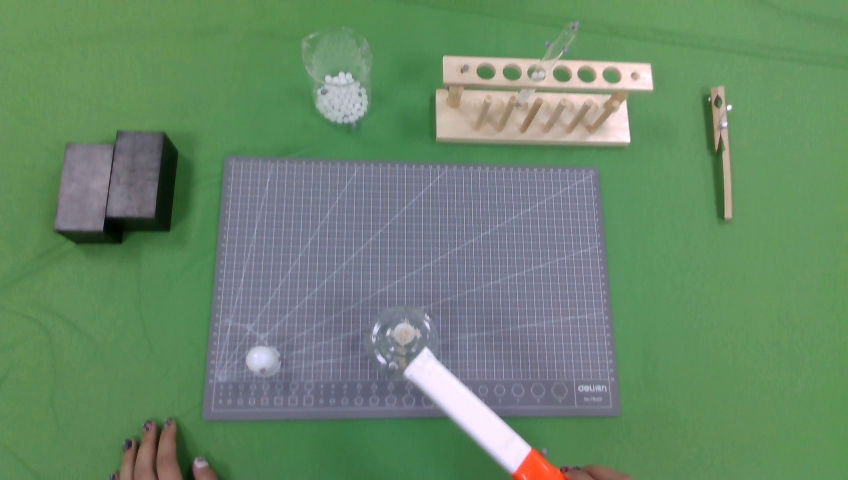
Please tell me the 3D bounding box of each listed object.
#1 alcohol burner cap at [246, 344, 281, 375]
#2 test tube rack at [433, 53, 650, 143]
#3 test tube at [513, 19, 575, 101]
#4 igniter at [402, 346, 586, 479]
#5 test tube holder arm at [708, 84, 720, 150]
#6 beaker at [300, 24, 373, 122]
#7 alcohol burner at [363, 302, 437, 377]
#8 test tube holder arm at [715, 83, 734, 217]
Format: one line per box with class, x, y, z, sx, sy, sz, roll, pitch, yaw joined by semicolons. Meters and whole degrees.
alcohol burner cap;-0.170;0.123;0.634;0.034;0.048;0.033;1;75;-5
test tube rack;0.136;-0.167;0.723;0.243;0.085;0.066;1;74;-5
test tube;0.130;-0.196;0.678;0.017;0.150;0.017;3;74;-11
igniter;0.090;0.199;0.529;0.276;0.025;0.057;43;67;3
test tube holder arm;0.374;-0.159;0.780;0.010;0.015;0.087;-6;74;29
beaker;-0.101;-0.189;0.699;0.084;0.100;0.074;28;74;4
alcohol burner;-0.023;0.099;0.618;0.078;0.119;0.077;2;72;-6
test tube holder arm;0.378;-0.116;0.766;0.013;0.015;0.177;-8;73;28
